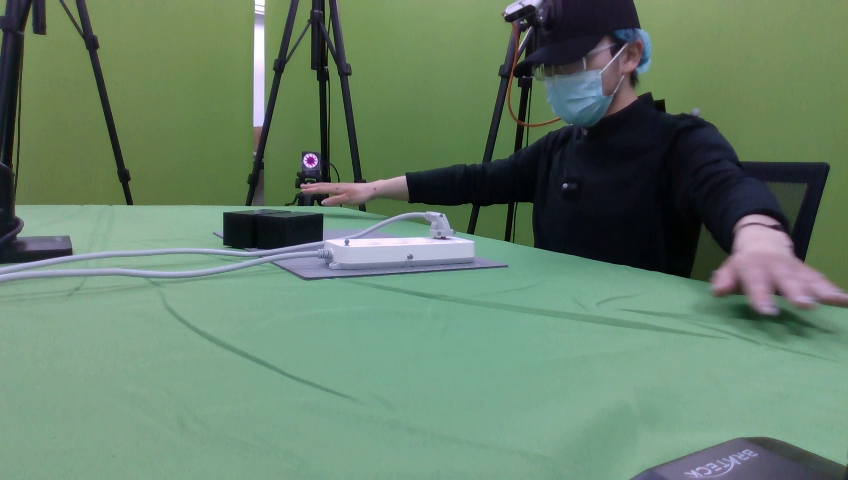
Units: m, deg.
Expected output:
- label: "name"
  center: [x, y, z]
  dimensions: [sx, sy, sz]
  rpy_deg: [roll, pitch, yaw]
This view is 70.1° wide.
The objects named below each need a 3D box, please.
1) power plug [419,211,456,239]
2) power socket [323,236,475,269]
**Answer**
- label: "power plug"
  center: [0.020, -0.015, 0.884]
  dimensions: [0.035, 0.052, 0.072]
  rpy_deg: [-1, 7, -20]
- label: "power socket"
  center: [-0.030, 0.014, 0.823]
  dimensions: [0.228, 0.032, 0.072]
  rpy_deg: [-2, 8, -31]
